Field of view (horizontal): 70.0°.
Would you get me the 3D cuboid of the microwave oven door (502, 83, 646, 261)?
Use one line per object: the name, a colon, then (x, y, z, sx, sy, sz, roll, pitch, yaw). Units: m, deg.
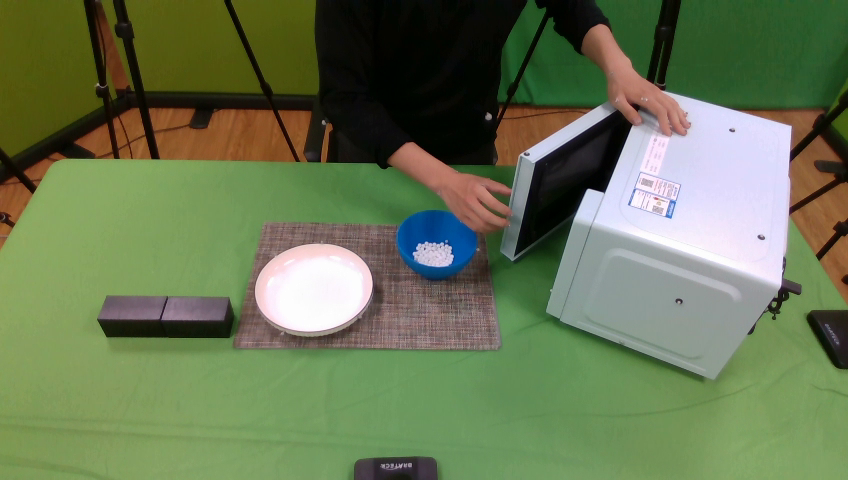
microwave oven door: (0.293, -0.136, 1.171, 0.356, 0.245, 0.039, -33, 55, -30)

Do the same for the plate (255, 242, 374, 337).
plate: (-0.192, 0.090, 1.079, 0.208, 0.039, 0.206, 2, 46, -2)

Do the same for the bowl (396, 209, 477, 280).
bowl: (0.021, 0.021, 1.134, 0.151, 0.077, 0.150, 2, 46, -2)

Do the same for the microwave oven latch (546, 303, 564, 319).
microwave oven latch: (0.242, 0.102, 1.081, 0.030, 0.029, 0.079, 22, 48, 17)

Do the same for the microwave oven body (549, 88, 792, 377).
microwave oven body: (0.456, -0.028, 1.088, 0.325, 0.261, 0.440, 20, 47, 16)
